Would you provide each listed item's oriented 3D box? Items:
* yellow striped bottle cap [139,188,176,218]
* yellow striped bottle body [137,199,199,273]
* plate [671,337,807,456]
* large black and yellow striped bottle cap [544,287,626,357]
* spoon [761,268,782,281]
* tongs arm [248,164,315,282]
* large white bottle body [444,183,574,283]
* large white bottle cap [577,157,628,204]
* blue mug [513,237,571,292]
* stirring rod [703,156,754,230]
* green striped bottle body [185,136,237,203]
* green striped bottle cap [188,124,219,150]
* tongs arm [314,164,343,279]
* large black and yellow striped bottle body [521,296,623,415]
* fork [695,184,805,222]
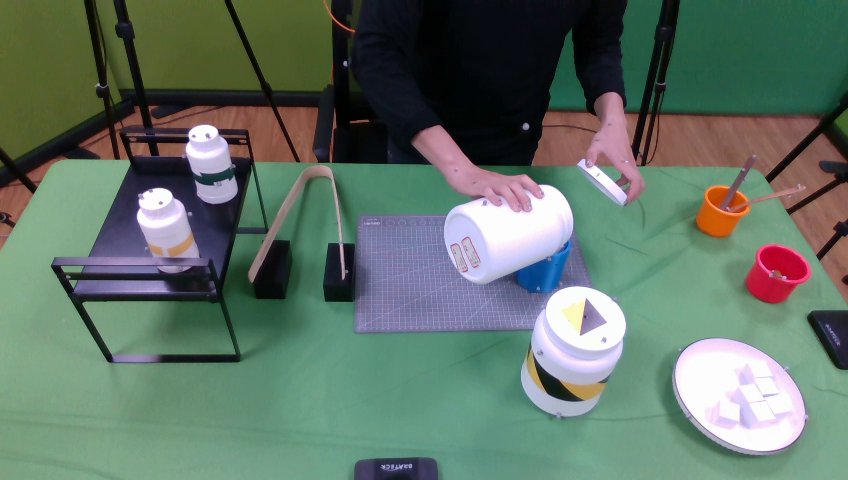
[{"bbox_3d":[-0.363,-0.050,0.826,0.044,0.019,0.044,1,47,0],"label":"yellow striped bottle cap"},{"bbox_3d":[-0.366,-0.014,0.863,0.063,0.121,0.062,2,46,-2],"label":"yellow striped bottle body"},{"bbox_3d":[0.503,0.254,0.984,0.208,0.039,0.206,2,46,-2],"label":"plate"},{"bbox_3d":[0.232,0.116,0.876,0.115,0.019,0.114,2,46,-1],"label":"large black and yellow striped bottle cap"},{"bbox_3d":[0.638,0.060,1.105,0.041,0.021,0.194,38,11,24],"label":"spoon"},{"bbox_3d":[-0.270,-0.047,1.165,0.028,0.028,0.385,-1,34,7],"label":"tongs arm"},{"bbox_3d":[0.141,-0.018,0.985,0.185,0.131,0.130,-20,51,-29],"label":"large white bottle body"},{"bbox_3d":[0.332,-0.111,1.129,0.018,0.115,0.114,-48,54,13],"label":"large white bottle cap"},{"bbox_3d":[0.203,0.031,1.121,0.116,0.106,0.082,5,46,1],"label":"blue mug"},{"bbox_3d":[0.631,-0.097,1.258,0.014,0.006,0.176,33,95,29],"label":"stirring rod"},{"bbox_3d":[-0.341,-0.121,0.968,0.063,0.120,0.063,2,46,-2],"label":"green striped bottle body"},{"bbox_3d":[-0.339,-0.158,0.931,0.044,0.020,0.044,4,46,-3],"label":"green striped bottle cap"},{"bbox_3d":[-0.188,-0.049,1.170,0.051,0.026,0.382,-6,35,-6],"label":"tongs arm"},{"bbox_3d":[0.228,0.173,0.938,0.131,0.185,0.130,2,47,-2],"label":"large black and yellow striped bottle body"},{"bbox_3d":[0.657,-0.075,1.230,0.207,0.019,0.028,-23,34,37],"label":"fork"}]
